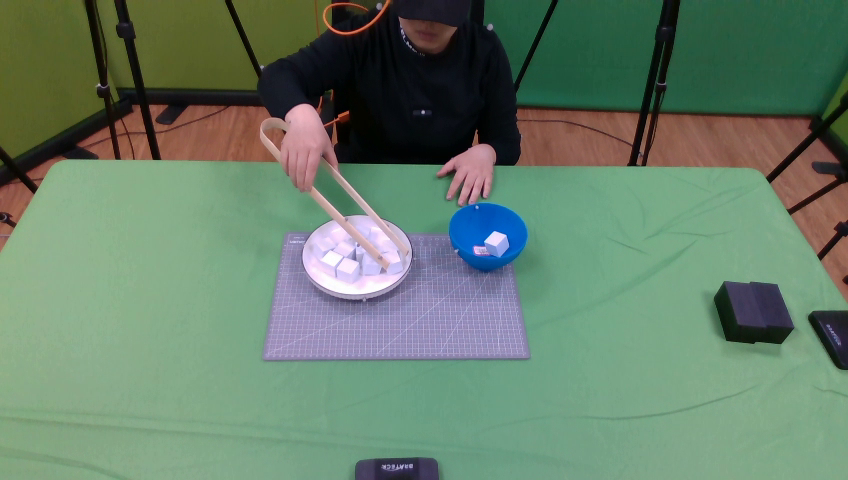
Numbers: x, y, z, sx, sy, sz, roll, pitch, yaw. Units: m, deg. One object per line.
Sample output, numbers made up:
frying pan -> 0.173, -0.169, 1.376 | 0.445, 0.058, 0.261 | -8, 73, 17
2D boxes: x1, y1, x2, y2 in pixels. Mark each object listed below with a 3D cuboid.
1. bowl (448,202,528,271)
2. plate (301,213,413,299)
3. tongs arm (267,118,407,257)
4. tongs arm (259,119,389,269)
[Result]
bowl -> 0.118, 0.006, 1.160 | 0.151, 0.077, 0.150 | 2, 46, -2
plate -> -0.124, 0.033, 1.143 | 0.208, 0.039, 0.206 | 2, 46, -2
tongs arm -> -0.168, -0.106, 1.161 | 0.386, 0.028, 0.028 | 45, 61, 13
tongs arm -> -0.189, -0.091, 1.144 | 0.384, 0.026, 0.050 | 43, 57, 12
